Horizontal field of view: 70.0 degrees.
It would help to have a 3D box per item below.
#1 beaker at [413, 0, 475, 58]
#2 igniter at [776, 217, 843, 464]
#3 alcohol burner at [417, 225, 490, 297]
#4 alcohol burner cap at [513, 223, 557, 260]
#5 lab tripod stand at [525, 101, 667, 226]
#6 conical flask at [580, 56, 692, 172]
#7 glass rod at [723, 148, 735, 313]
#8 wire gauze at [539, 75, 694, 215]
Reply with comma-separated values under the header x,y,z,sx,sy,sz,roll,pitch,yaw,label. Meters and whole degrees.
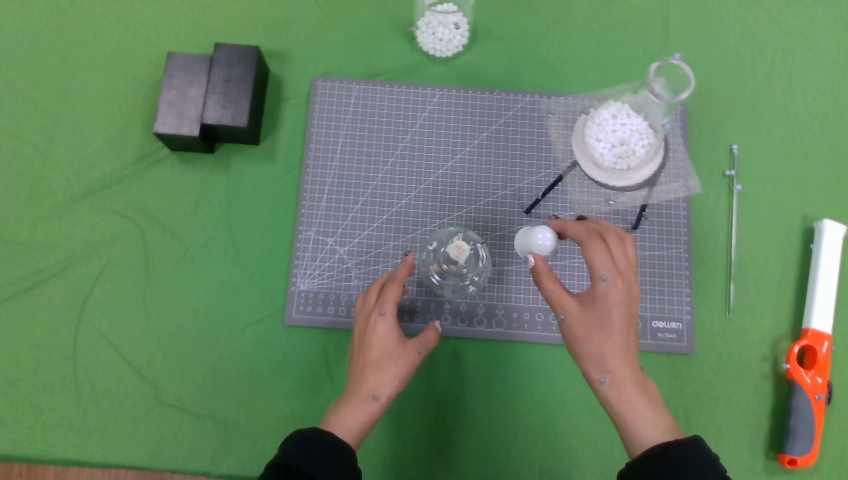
x,y,z,sx,sy,sz,roll,pitch,yaw,label
0.024,-0.266,0.701,0.084,0.100,0.073,-36,80,-9,beaker
0.422,0.107,0.660,0.057,0.025,0.275,19,77,-7,igniter
0.032,0.018,0.624,0.078,0.119,0.077,1,78,-2,alcohol burner
0.101,-0.001,0.540,0.034,0.048,0.034,1,85,-9,alcohol burner cap
0.184,-0.074,0.639,0.148,0.132,0.147,0,78,0,lab tripod stand
0.185,-0.110,0.519,0.075,0.122,0.075,0,79,-1,conical flask
0.351,-0.014,0.696,0.008,0.008,0.199,9,77,1,glass rod
0.184,-0.091,0.576,0.125,0.011,0.121,-12,80,-6,wire gauze
